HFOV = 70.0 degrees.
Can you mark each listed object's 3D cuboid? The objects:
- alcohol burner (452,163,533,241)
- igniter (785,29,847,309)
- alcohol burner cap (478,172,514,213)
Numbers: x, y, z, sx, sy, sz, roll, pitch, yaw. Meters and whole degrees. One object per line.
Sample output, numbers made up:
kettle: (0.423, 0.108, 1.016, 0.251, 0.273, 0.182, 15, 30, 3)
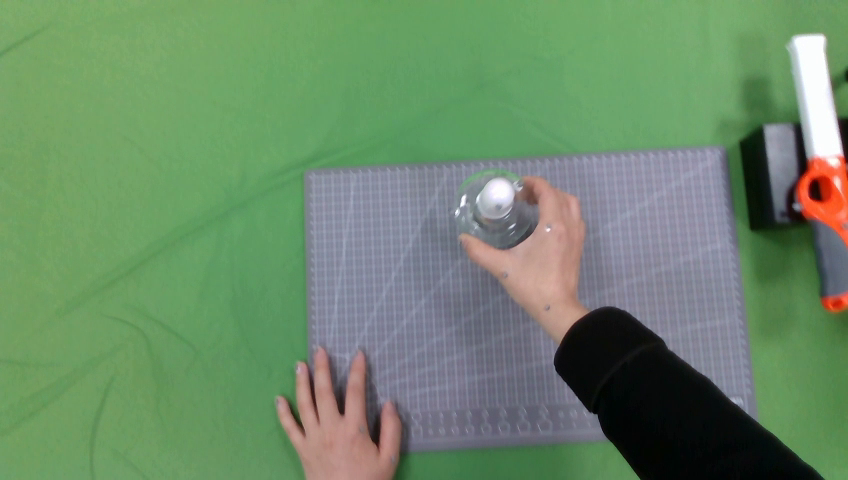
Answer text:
alcohol burner: (0.065, -0.039, 0.566, 0.078, 0.119, 0.077, 0, 82, 3)
igniter: (0.385, -0.072, 0.583, 0.057, 0.025, 0.275, -2, 80, 2)
alcohol burner cap: (0.065, -0.044, 0.536, 0.034, 0.048, 0.034, 0, 83, 2)
